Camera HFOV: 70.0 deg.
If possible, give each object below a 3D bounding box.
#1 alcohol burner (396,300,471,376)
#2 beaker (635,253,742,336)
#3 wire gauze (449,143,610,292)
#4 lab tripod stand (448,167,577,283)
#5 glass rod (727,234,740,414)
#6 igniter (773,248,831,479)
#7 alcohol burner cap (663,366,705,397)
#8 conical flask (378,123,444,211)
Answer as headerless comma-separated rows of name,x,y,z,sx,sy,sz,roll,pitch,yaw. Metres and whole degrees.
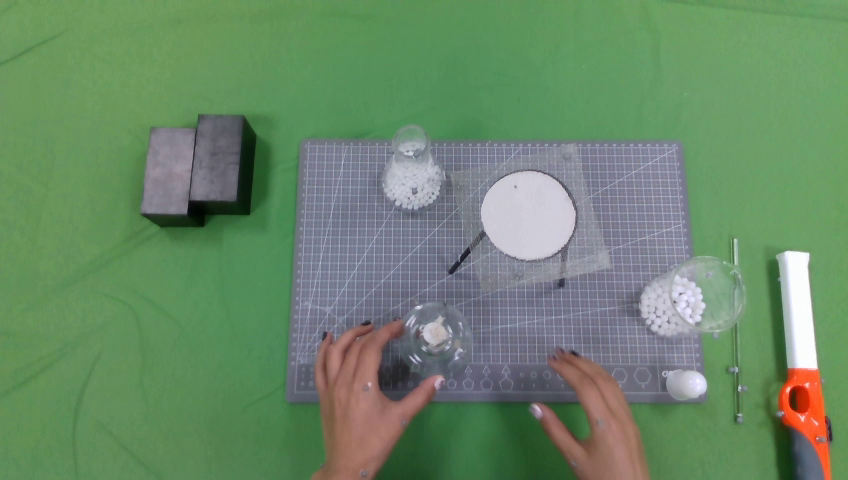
alcohol burner,0.009,0.096,0.607,0.078,0.119,0.077,0,75,1
beaker,0.270,0.059,0.626,0.084,0.100,0.073,-36,79,-9
wire gauze,0.096,-0.022,0.556,0.125,0.011,0.121,-12,77,-3
lab tripod stand,0.094,-0.008,0.622,0.148,0.132,0.147,0,78,0
glass rod,0.342,0.089,0.669,0.008,0.008,0.198,5,77,0
igniter,0.401,0.145,0.646,0.057,0.025,0.275,5,77,-9
alcohol burner cap,0.275,0.147,0.634,0.034,0.048,0.033,0,76,-1
conical flask,-0.015,-0.082,0.644,0.075,0.122,0.075,0,76,0
